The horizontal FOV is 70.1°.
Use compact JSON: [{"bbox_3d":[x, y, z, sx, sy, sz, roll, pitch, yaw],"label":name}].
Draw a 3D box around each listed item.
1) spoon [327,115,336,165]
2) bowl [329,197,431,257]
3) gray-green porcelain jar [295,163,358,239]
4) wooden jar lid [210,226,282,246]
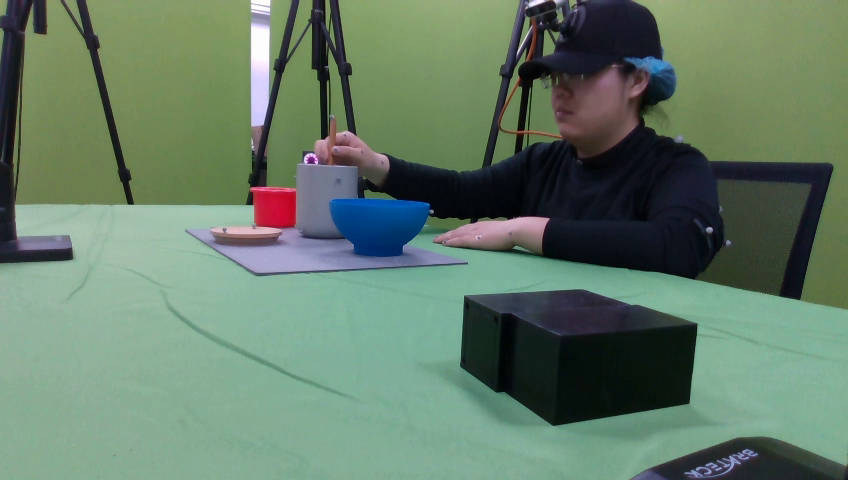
[{"bbox_3d":[-0.170,-0.122,1.059,0.021,0.193,0.042,14,5,31],"label":"spoon"},{"bbox_3d":[-0.067,-0.019,0.894,0.151,0.077,0.151,3,7,0],"label":"bowl"},{"bbox_3d":[-0.170,-0.069,1.054,0.106,0.126,0.106,3,7,0],"label":"gray-green porcelain jar"},{"bbox_3d":[-0.279,-0.007,0.951,0.108,0.020,0.108,2,8,0],"label":"wooden jar lid"}]
